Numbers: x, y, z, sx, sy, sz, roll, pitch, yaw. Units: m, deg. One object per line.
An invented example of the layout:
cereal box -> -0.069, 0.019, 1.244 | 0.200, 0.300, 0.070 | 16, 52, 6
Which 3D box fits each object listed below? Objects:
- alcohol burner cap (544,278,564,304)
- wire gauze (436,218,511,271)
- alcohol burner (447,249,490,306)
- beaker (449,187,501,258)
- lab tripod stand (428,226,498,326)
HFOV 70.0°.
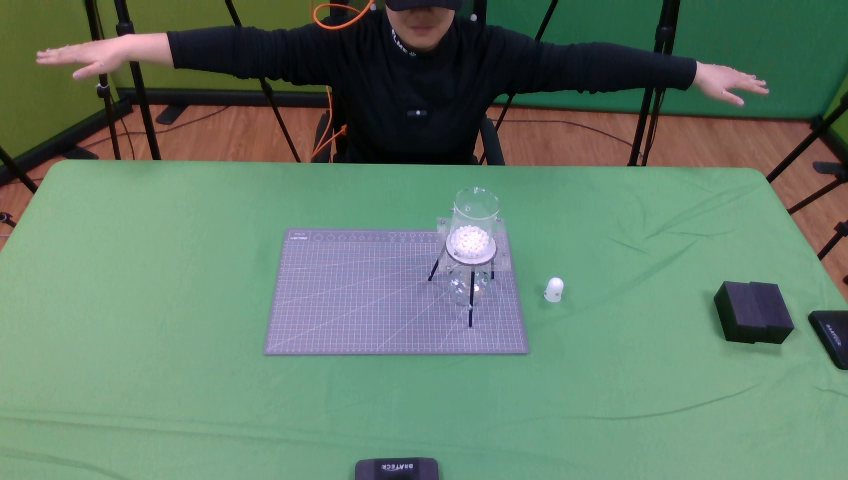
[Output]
alcohol burner cap -> 0.241, 0.090, 1.117 | 0.034, 0.048, 0.033 | 2, 45, -1
wire gauze -> 0.083, 0.007, 1.026 | 0.121, 0.011, 0.124 | 3, 44, -5
alcohol burner -> 0.080, 0.062, 1.078 | 0.078, 0.120, 0.077 | 1, 45, -1
beaker -> 0.080, -0.027, 0.991 | 0.074, 0.101, 0.083 | 3, 46, -3
lab tripod stand -> 0.079, 0.056, 1.070 | 0.148, 0.132, 0.147 | 3, 47, -3
